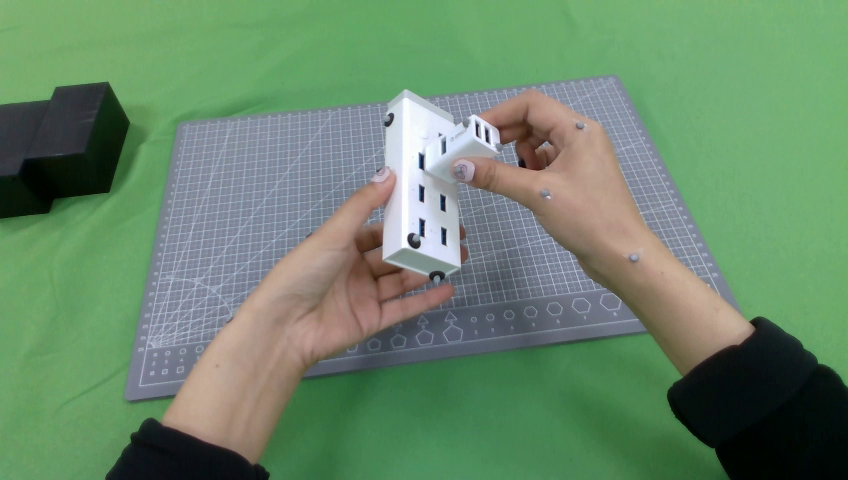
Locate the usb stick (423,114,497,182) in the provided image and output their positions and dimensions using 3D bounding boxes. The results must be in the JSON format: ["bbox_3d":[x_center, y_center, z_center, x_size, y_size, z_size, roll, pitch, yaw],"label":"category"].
[{"bbox_3d":[0.018,-0.056,0.393,0.027,0.059,0.021,18,57,-34],"label":"usb stick"}]

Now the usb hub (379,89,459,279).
[{"bbox_3d":[-0.004,-0.039,0.407,0.050,0.025,0.124,21,55,-35],"label":"usb hub"}]
